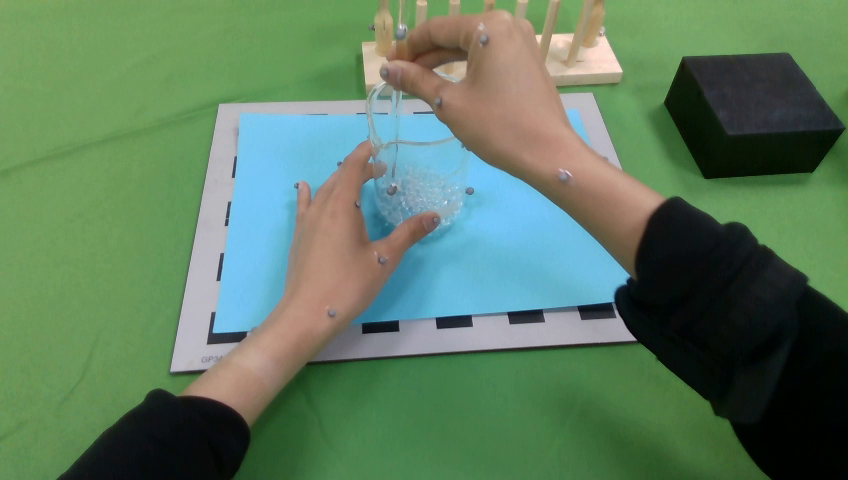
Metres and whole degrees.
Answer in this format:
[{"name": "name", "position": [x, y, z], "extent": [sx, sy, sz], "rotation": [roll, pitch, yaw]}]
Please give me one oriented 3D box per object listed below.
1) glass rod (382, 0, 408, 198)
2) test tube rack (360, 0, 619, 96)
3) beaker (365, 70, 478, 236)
[{"name": "glass rod", "position": [-0.020, -0.092, 0.386], "extent": [0.008, 0.201, 0.008], "rotation": [4, 54, -5]}, {"name": "test tube rack", "position": [0.063, -0.192, 0.557], "extent": [0.243, 0.086, 0.066], "rotation": [-4, 52, -6]}, {"name": "beaker", "position": [-0.005, -0.056, 0.435], "extent": [0.073, 0.101, 0.084], "rotation": [35, 59, 23]}]
